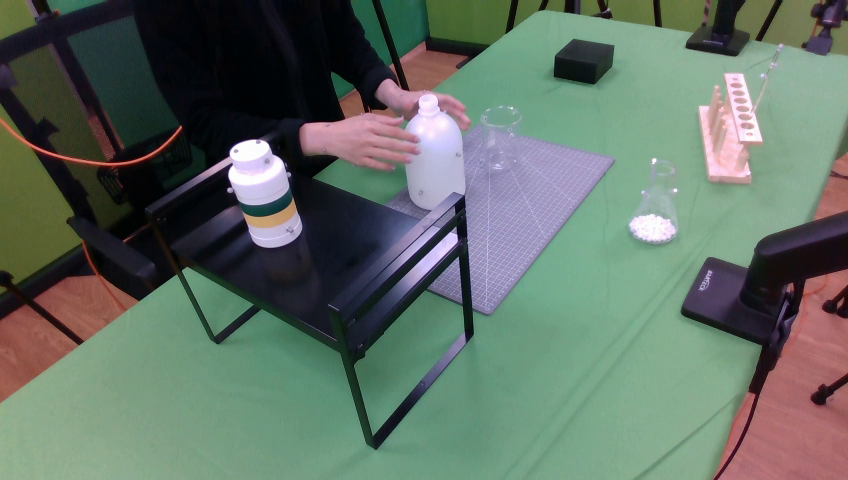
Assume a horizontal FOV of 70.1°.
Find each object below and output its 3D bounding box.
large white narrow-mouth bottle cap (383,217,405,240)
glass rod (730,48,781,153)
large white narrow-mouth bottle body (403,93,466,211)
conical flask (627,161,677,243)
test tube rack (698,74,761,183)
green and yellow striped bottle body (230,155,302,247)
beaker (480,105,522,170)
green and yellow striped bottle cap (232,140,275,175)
[{"bbox_3d":[-0.051,-0.019,1.004,0.038,0.024,0.037,-4,39,4],"label":"large white narrow-mouth bottle cap"},{"bbox_3d":[0.554,-0.228,1.015,0.008,0.200,0.008,1,44,-1],"label":"glass rod"},{"bbox_3d":[0.017,-0.152,1.017,0.102,0.195,0.101,-4,39,4],"label":"large white narrow-mouth bottle body"},{"bbox_3d":[0.355,-0.061,0.921,0.075,0.122,0.075,-4,41,4],"label":"conical flask"},{"bbox_3d":[0.547,-0.208,1.095,0.066,0.085,0.242,5,42,15],"label":"test tube rack"},{"bbox_3d":[-0.188,-0.055,0.714,0.063,0.120,0.063,-4,41,4],"label":"green and yellow striped bottle body"},{"bbox_3d":[0.145,-0.187,1.111,0.084,0.100,0.073,-35,48,-29],"label":"beaker"},{"bbox_3d":[-0.192,-0.093,0.680,0.045,0.020,0.045,-5,39,5],"label":"green and yellow striped bottle cap"}]
